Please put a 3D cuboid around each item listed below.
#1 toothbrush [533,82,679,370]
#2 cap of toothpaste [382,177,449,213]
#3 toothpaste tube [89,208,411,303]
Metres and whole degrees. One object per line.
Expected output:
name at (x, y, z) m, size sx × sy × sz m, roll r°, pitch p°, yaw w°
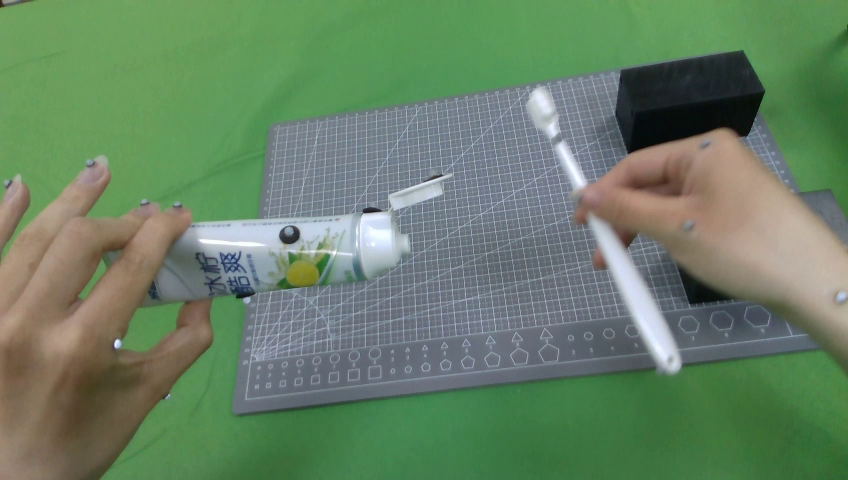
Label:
toothbrush at (0.101, -0.014, 0.342) m, size 0.014 × 0.017 × 0.180 m, roll -19°, pitch 72°, yaw -4°
cap of toothpaste at (-0.003, -0.023, 0.306) m, size 0.037 × 0.037 × 0.011 m, roll -21°, pitch 93°, yaw -3°
toothpaste tube at (-0.089, 0.005, 0.317) m, size 0.165 × 0.055 × 0.034 m, roll -6°, pitch 29°, yaw 6°
